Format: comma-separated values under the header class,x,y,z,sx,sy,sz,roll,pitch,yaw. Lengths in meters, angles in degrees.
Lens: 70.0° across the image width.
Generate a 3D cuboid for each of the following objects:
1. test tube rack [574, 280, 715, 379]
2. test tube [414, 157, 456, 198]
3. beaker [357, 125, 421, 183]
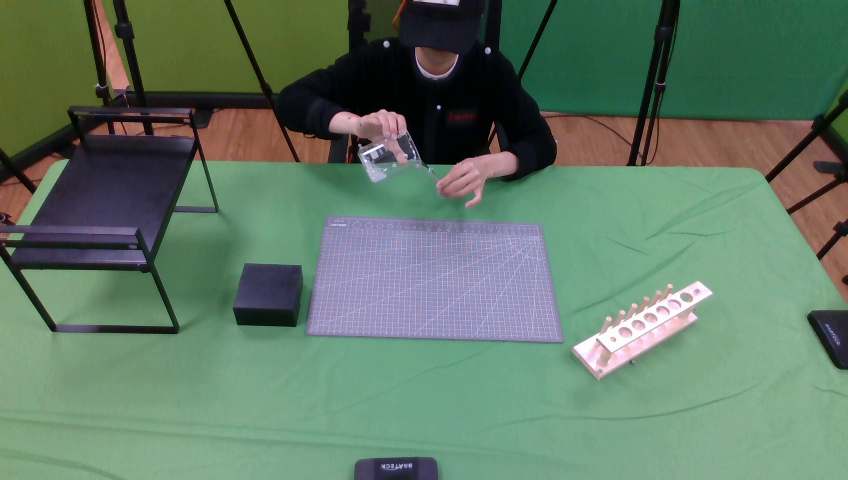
class,x,y,z,sx,sy,sz,roll,pitch,yaw
test tube rack,0.378,0.140,1.038,0.242,0.085,0.066,-22,51,-23
test tube,0.025,-0.121,1.196,0.017,0.151,0.017,-14,60,27
beaker,-0.064,-0.153,1.109,0.100,0.084,0.073,-26,48,-1
